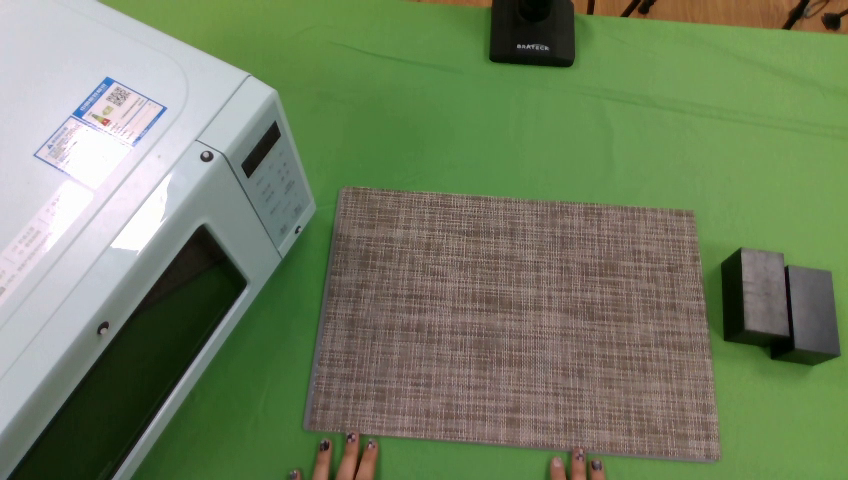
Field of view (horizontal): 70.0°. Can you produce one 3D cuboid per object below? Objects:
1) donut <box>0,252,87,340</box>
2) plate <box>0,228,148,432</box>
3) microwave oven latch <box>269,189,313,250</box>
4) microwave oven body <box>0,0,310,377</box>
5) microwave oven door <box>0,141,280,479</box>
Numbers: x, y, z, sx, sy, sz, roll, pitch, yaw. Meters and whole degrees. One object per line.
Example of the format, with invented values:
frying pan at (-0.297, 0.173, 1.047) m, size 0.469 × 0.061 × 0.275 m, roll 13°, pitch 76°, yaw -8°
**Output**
donut at (-0.399, 0.057, 0.622) m, size 0.099 × 0.048 × 0.098 m, roll 2°, pitch 52°, yaw -2°
plate at (-0.374, 0.087, 0.607) m, size 0.209 × 0.038 × 0.207 m, roll -2°, pitch 65°, yaw 5°
microwave oven latch at (-0.162, -0.029, 0.720) m, size 0.030 × 0.030 × 0.079 m, roll 27°, pitch 70°, yaw 9°
microwave oven body at (-0.376, 0.008, 0.593) m, size 0.325 × 0.262 × 0.440 m, roll 27°, pitch 70°, yaw 9°
microwave oven door at (-0.267, 0.106, 0.551) m, size 0.039 × 0.245 × 0.354 m, roll 27°, pitch 69°, yaw 10°
